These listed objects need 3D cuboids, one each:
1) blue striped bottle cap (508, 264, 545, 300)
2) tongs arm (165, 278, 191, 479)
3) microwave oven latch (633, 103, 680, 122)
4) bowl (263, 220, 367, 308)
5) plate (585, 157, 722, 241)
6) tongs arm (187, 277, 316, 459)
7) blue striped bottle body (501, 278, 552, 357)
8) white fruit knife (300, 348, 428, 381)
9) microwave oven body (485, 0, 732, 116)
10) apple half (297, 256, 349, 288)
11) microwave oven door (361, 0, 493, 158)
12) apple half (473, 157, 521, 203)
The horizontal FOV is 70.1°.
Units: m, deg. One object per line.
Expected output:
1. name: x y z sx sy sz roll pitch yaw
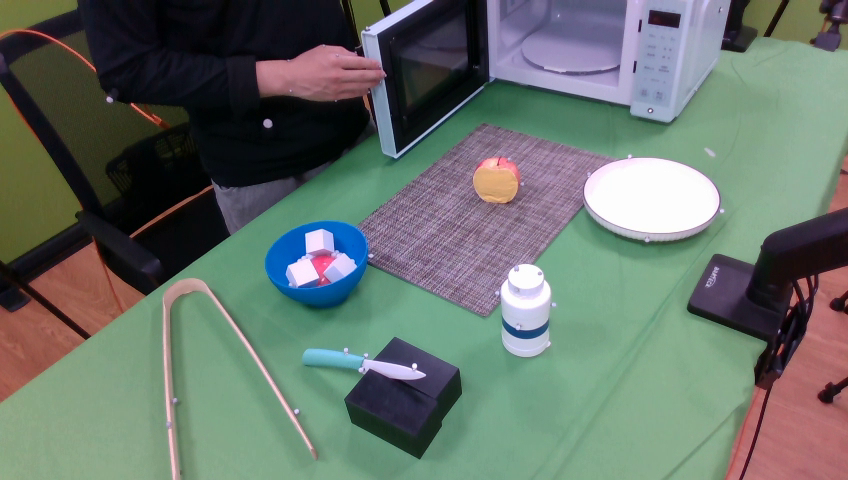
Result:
1. blue striped bottle cap: 0.125 0.051 0.735 0.044 0.021 0.044 -5 39 5
2. tongs arm: -0.313 0.182 0.789 0.051 0.026 0.381 -19 41 -14
3. microwave oven latch: 0.444 -0.249 1.157 0.078 0.029 0.030 21 49 30
4. bowl: -0.152 0.047 0.892 0.151 0.077 0.150 -4 40 4
5. plate: 0.367 -0.063 0.979 0.207 0.039 0.206 -4 40 4
6. tongs arm: -0.240 0.154 0.815 0.028 0.028 0.384 -31 46 -21
7. blue striped bottle body: 0.130 0.088 0.769 0.063 0.121 0.063 -4 41 4
8. white fruit knife: -0.079 0.154 0.748 0.206 0.027 0.016 1 21 34
9. microwave oven body: 0.377 -0.462 1.267 0.438 0.261 0.327 21 48 30
10. apple half: -0.154 0.044 0.889 0.081 0.033 0.081 -3 40 3
11. microwave oven door: 0.022 -0.353 1.183 0.039 0.245 0.357 21 48 30
12. apple half: 0.127 -0.106 1.030 0.080 0.075 0.053 4 36 19
